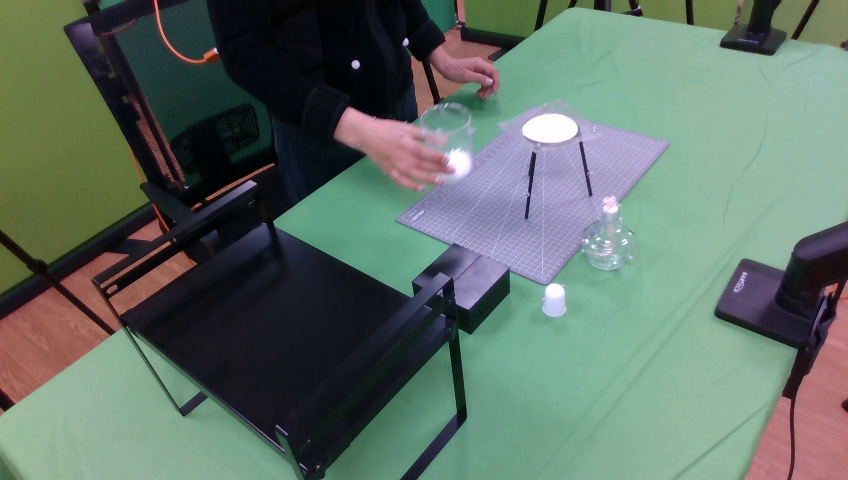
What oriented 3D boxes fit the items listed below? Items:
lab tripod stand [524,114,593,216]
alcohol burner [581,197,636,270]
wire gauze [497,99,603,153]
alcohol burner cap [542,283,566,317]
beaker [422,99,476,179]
[{"bbox_3d":[0.210,-0.127,1.001,0.148,0.132,0.147,-4,43,4],"label":"lab tripod stand"},{"bbox_3d":[0.270,-0.015,0.882,0.078,0.119,0.077,-5,42,5],"label":"alcohol burner"},{"bbox_3d":[0.199,-0.181,0.962,0.125,0.011,0.120,-20,43,-13],"label":"wire gauze"},{"bbox_3d":[0.181,0.080,0.840,0.034,0.048,0.033,-3,40,3],"label":"alcohol burner cap"},{"bbox_3d":[0.039,-0.148,0.900,0.074,0.101,0.083,-12,46,-2],"label":"beaker"}]
